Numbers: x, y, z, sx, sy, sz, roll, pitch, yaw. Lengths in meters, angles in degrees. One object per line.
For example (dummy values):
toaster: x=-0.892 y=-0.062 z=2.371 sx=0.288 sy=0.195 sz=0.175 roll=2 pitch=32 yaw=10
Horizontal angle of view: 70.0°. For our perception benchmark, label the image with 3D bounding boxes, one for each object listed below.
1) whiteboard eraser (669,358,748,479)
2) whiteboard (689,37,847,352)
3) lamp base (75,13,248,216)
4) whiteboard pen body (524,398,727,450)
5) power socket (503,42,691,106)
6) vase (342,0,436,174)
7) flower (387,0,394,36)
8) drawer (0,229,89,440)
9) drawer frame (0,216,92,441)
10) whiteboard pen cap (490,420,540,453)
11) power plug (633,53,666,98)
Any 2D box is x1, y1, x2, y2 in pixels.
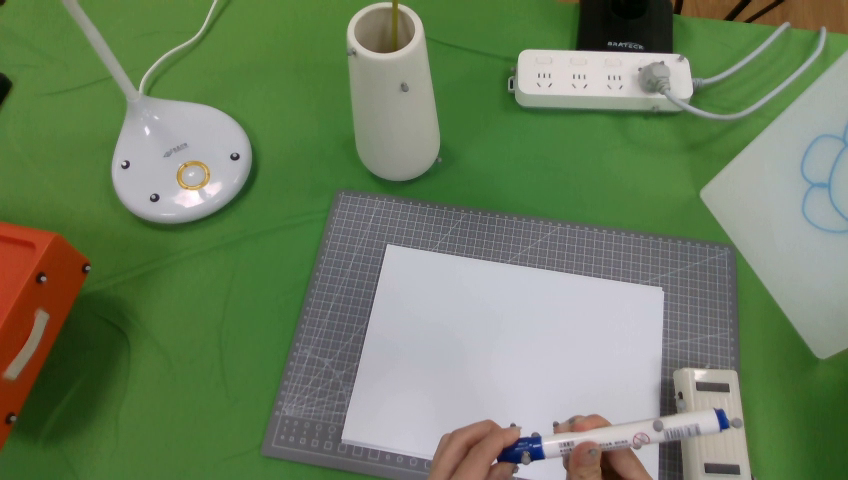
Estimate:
whiteboard eraser: x=0.263 y=0.168 z=0.565 sx=0.055 sy=0.042 sz=0.112 roll=4 pitch=65 yaw=1
whiteboard: x=0.450 y=-0.067 z=0.561 sx=0.144 sy=0.307 sz=0.215 roll=-13 pitch=63 yaw=-26
lamp base: x=-0.298 y=-0.140 z=0.644 sx=0.178 sy=0.182 sz=0.160 roll=40 pitch=71 yaw=21
whiteboard pen body: x=0.119 y=0.121 z=0.391 sx=0.140 sy=0.017 sz=0.017 roll=-14 pitch=64 yaw=15
power socket: x=0.213 y=-0.205 z=0.745 sx=0.227 sy=0.033 sz=0.071 roll=3 pitch=66 yaw=2
vase: x=-0.038 y=-0.154 z=0.636 sx=0.098 sy=0.201 sz=0.097 roll=-1 pitch=64 yaw=2
flower: x=-0.031 y=-0.204 z=0.568 sx=0.038 sy=0.365 sz=0.043 roll=-3 pitch=47 yaw=-7
drawer: x=-0.458 y=0.068 z=0.557 sx=0.211 sy=0.074 sz=0.193 roll=11 pitch=67 yaw=6
drawer frame: x=-0.464 y=0.069 z=0.559 sx=0.213 sy=0.083 sz=0.200 roll=11 pitch=67 yaw=4
whiteboard pen cap: x=0.062 y=0.130 z=0.404 sx=0.033 sy=0.018 sz=0.018 roll=-21 pitch=64 yaw=15
power plug: x=0.261 y=-0.186 z=0.710 sx=0.035 sy=0.053 sz=0.072 roll=12 pitch=67 yaw=8
